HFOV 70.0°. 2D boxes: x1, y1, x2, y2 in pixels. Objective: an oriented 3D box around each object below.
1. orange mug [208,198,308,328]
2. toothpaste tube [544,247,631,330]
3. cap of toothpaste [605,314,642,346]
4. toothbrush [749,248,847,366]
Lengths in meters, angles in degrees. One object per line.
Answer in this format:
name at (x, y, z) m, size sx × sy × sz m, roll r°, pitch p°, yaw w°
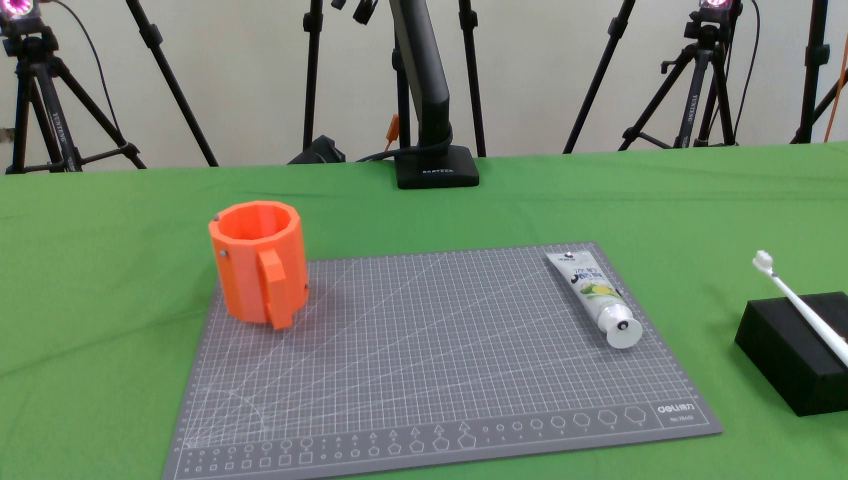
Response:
orange mug at (-0.160, 0.026, 0.607) m, size 0.084 × 0.101 × 0.125 m, roll -14°, pitch 32°, yaw -22°
toothpaste tube at (0.180, 0.048, 0.645) m, size 0.055 × 0.035 × 0.163 m, roll 1°, pitch 28°, yaw -10°
cap of toothpaste at (0.189, 0.084, 0.577) m, size 0.037 × 0.037 × 0.011 m, roll -5°, pitch 30°, yaw -8°
toothbrush at (0.348, 0.062, 0.551) m, size 0.014 × 0.017 × 0.180 m, roll 2°, pitch 33°, yaw -6°
